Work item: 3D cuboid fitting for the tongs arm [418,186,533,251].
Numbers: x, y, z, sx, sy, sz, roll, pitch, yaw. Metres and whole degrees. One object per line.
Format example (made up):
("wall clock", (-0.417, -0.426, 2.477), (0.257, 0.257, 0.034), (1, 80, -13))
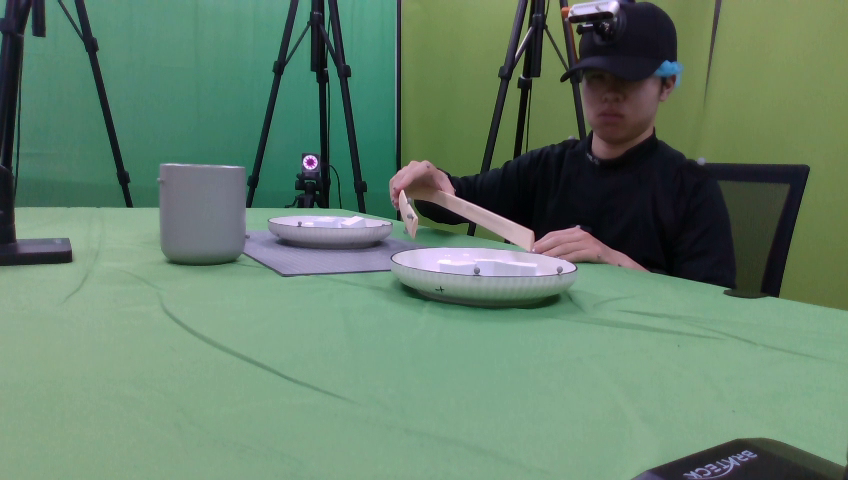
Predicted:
("tongs arm", (0.062, -0.040, 0.878), (0.028, 0.028, 0.386), (-1, 13, -18))

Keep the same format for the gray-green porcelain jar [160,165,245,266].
("gray-green porcelain jar", (-0.291, -0.034, 0.799), (0.106, 0.126, 0.106), (2, 8, 0))

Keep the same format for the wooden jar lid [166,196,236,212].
("wooden jar lid", (-0.369, -0.060, 1.001), (0.108, 0.020, 0.108), (3, 6, 0))

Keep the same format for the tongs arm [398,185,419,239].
("tongs arm", (-0.012, -0.048, 0.862), (0.051, 0.026, 0.384), (5, 11, -8))

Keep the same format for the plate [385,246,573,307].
("plate", (0.060, 0.041, 0.678), (0.208, 0.039, 0.207), (3, 7, 0))

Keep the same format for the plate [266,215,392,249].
("plate", (-0.159, -0.015, 1.019), (0.209, 0.038, 0.209), (3, 7, 0))
